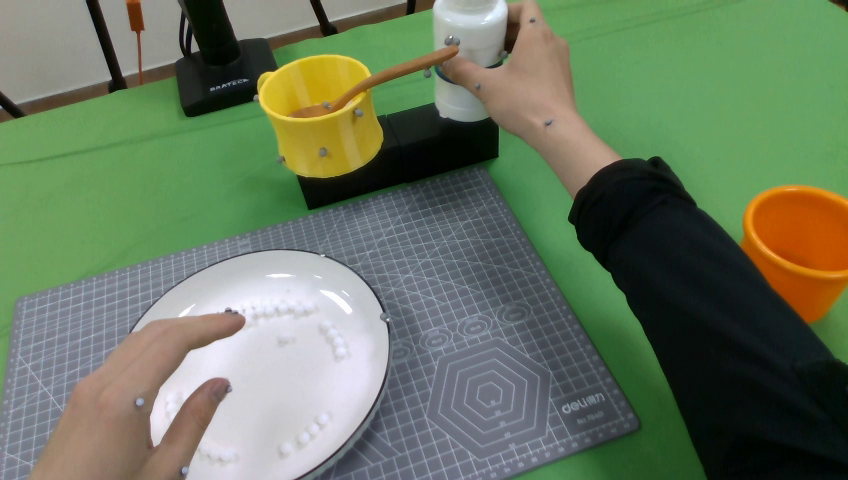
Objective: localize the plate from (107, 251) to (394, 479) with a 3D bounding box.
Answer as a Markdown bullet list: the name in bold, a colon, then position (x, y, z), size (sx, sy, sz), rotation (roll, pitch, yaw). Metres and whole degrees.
- **plate**: position (-0.124, 0.098, 0.456), size (0.207, 0.039, 0.205), rotation (-3, 49, 4)

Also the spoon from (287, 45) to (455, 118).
- **spoon**: position (-0.055, -0.128, 0.519), size (0.193, 0.022, 0.041), rotation (-17, 35, 37)

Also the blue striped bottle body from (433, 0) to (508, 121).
- **blue striped bottle body**: position (0.040, -0.170, 0.529), size (0.063, 0.122, 0.062), rotation (-1, 50, 1)

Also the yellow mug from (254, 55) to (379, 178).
- **yellow mug**: position (-0.108, -0.120, 0.561), size (0.130, 0.064, 0.099), rotation (22, 55, 25)

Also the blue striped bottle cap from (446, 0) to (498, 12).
- **blue striped bottle cap**: position (0.039, -0.204, 0.491), size (0.044, 0.021, 0.044), rotation (-3, 49, 3)
